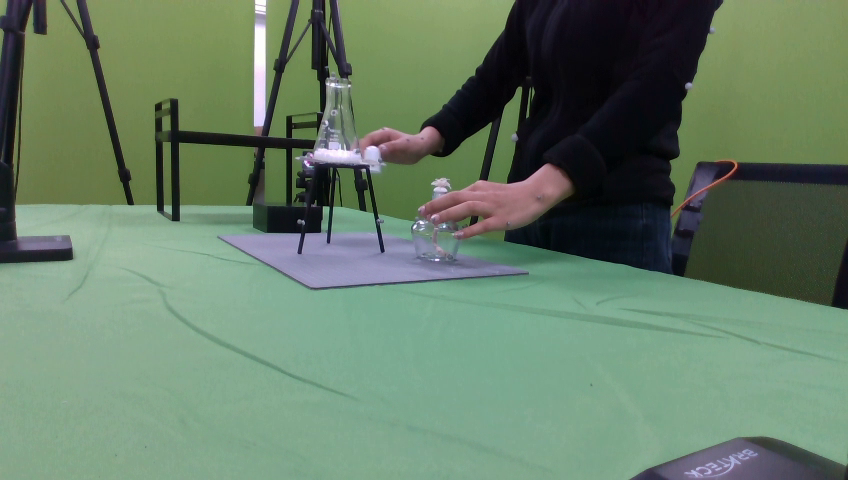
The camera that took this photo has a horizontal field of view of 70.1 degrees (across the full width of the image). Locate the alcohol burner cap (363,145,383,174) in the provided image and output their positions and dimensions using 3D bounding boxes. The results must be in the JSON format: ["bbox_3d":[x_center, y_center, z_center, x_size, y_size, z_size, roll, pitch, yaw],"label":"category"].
[{"bbox_3d":[-0.087,-0.139,1.039,0.034,0.048,0.034,0,-3,0],"label":"alcohol burner cap"}]

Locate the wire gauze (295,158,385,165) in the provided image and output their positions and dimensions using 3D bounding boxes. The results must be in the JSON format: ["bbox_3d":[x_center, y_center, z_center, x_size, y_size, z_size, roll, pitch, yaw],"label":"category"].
[{"bbox_3d":[-0.128,-0.117,0.901,0.125,0.011,0.121,-2,8,-14],"label":"wire gauze"}]

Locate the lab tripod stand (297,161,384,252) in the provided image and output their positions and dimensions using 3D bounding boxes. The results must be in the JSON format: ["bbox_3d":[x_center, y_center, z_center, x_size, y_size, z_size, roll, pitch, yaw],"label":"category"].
[{"bbox_3d":[-0.130,-0.051,0.903,0.148,0.131,0.148,3,9,0],"label":"lab tripod stand"}]

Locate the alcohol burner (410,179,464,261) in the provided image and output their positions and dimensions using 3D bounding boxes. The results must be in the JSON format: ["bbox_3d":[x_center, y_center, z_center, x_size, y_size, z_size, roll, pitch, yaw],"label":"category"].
[{"bbox_3d":[0.020,-0.029,0.865,0.078,0.119,0.078,5,7,0],"label":"alcohol burner"}]

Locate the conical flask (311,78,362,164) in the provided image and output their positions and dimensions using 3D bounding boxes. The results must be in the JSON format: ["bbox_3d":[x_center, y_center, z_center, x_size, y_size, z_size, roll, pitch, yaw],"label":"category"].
[{"bbox_3d":[-0.128,-0.174,0.890,0.075,0.122,0.075,3,9,0],"label":"conical flask"}]
